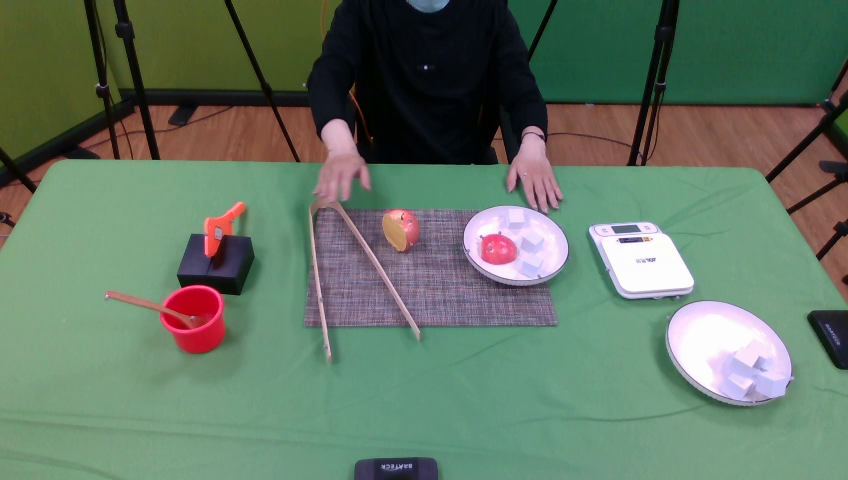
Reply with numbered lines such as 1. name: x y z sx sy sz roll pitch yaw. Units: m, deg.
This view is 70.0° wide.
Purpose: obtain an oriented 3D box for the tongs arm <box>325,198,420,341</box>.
1. tongs arm: -0.101 0.043 1.140 0.028 0.028 0.385 -22 51 -18

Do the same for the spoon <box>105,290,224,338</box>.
1. spoon: -0.411 0.115 0.971 0.195 0.021 0.041 32 36 -37

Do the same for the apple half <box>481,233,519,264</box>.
1. apple half: 0.147 0.010 1.174 0.081 0.033 0.081 0 46 0

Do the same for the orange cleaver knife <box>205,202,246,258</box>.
1. orange cleaver knife: -0.376 -0.024 1.151 0.012 0.077 0.210 0 16 2

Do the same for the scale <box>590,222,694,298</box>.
1. scale: 0.424 0.031 1.189 0.149 0.032 0.199 -3 46 -7

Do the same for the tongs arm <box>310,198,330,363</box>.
1. tongs arm: -0.180 0.058 1.117 0.051 0.026 0.382 -9 47 -11

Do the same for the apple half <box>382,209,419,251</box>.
1. apple half: -0.039 -0.022 1.175 0.053 0.075 0.080 -27 49 -31

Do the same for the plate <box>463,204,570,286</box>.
1. plate: 0.177 0.013 1.180 0.209 0.038 0.208 2 46 -2

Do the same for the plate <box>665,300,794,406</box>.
1. plate: 0.513 0.194 1.034 0.208 0.039 0.206 2 46 -2
